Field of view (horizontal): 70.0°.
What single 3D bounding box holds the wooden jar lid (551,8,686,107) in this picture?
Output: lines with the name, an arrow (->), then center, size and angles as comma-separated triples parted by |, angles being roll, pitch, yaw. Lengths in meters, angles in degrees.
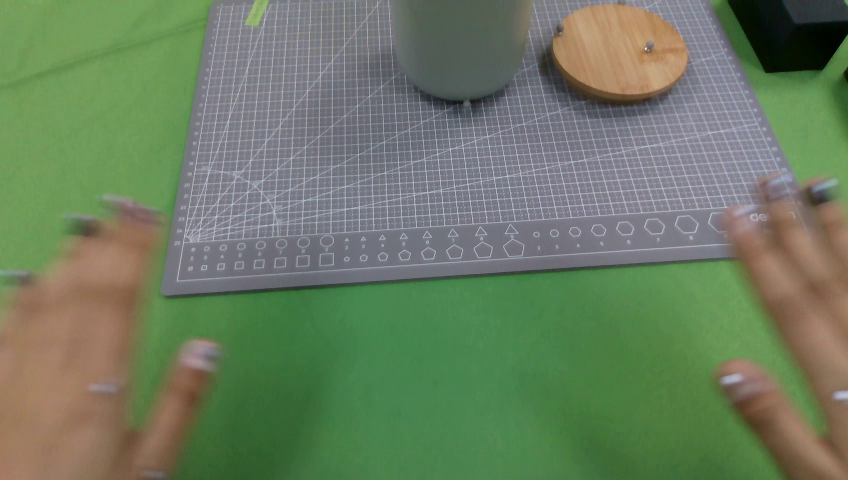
wooden jar lid -> 0.158, -0.149, 0.499 | 0.108, 0.021, 0.107 | -1, 57, 1

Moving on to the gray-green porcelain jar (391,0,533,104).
gray-green porcelain jar -> 0.028, -0.176, 0.454 | 0.106, 0.127, 0.105 | 0, 58, 0
